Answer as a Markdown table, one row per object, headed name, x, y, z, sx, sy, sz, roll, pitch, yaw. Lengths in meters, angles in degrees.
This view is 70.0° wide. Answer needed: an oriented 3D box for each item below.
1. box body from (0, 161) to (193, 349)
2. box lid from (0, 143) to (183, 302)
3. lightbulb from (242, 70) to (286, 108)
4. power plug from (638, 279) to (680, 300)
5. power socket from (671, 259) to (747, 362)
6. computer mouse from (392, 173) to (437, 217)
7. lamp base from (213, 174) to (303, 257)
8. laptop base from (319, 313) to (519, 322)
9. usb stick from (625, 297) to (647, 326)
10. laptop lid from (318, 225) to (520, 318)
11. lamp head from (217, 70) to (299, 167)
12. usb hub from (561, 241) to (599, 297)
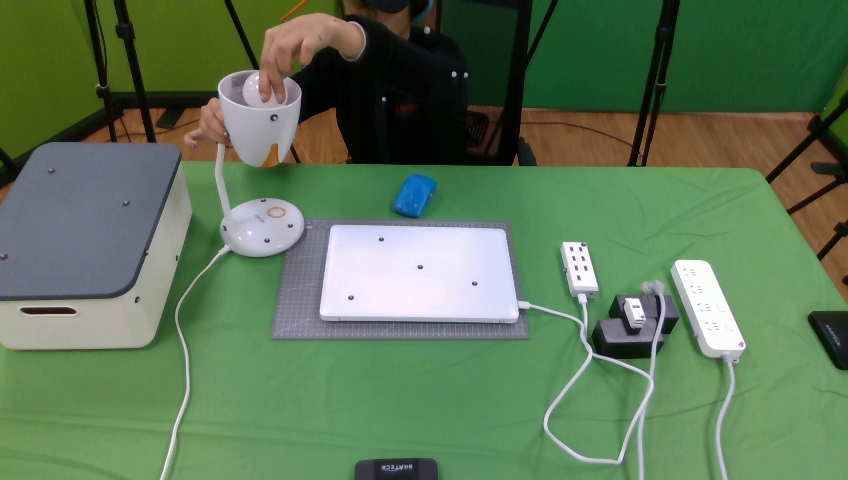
| name | x | y | z | sx | sy | sz | roll | pitch | yaw |
| --- | --- | --- | --- | --- | --- | --- | --- | --- | --- |
| box body | -0.570 | 0.006 | 1.054 | 0.254 | 0.161 | 0.361 | -1 | 46 | -4 |
| box lid | -0.567 | -0.045 | 0.999 | 0.263 | 0.015 | 0.369 | -1 | 46 | -4 |
| lightbulb | -0.228 | -0.187 | 0.860 | 0.059 | 0.108 | 0.059 | 10 | 35 | -7 |
| power plug | 0.433 | 0.099 | 1.118 | 0.073 | 0.053 | 0.035 | 35 | 37 | -16 |
| power socket | 0.516 | 0.119 | 1.108 | 0.072 | 0.033 | 0.225 | 1 | 46 | -2 |
| computer mouse | -0.018 | -0.098 | 1.282 | 0.062 | 0.041 | 0.117 | 20 | 51 | 13 |
| lamp base | -0.324 | -0.074 | 1.135 | 0.160 | 0.181 | 0.179 | 28 | 53 | 24 |
| laptop base | -0.009 | 0.062 | 1.138 | 0.354 | 0.023 | 0.234 | 1 | 42 | -3 |
| usb stick | 0.360 | 0.116 | 1.034 | 0.021 | 0.027 | 0.059 | -2 | 44 | -2 |
| laptop lid | -0.009 | 0.052 | 1.131 | 0.357 | 0.013 | 0.240 | 2 | 43 | -2 |
| lamp head | -0.240 | -0.170 | 0.876 | 0.112 | 0.123 | 0.111 | 9 | 45 | -9 |
| usb hub | 0.300 | 0.055 | 1.162 | 0.049 | 0.025 | 0.124 | 2 | 46 | -3 |
